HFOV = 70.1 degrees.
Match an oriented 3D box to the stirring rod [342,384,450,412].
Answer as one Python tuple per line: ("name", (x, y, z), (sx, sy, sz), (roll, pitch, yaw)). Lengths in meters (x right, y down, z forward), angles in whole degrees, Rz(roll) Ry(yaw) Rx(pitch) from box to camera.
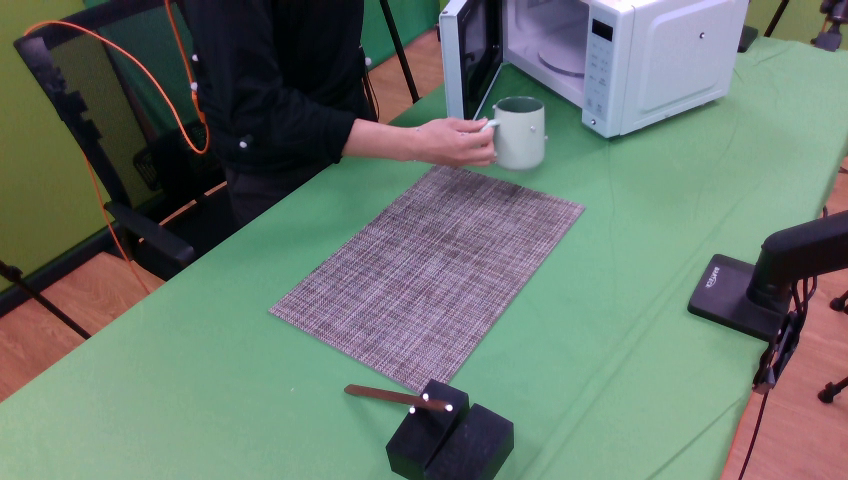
("stirring rod", (-0.038, 0.186, 0.714), (0.175, 0.006, 0.014), (-3, 22, 43))

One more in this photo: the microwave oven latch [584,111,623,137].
("microwave oven latch", (0.337, -0.222, 1.142), (0.030, 0.029, 0.078), (-21, 42, -14))

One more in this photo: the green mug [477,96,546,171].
("green mug", (0.144, -0.173, 1.009), (0.126, 0.105, 0.091), (-18, 37, -22))

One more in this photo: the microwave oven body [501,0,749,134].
("microwave oven body", (0.382, -0.444, 1.246), (0.327, 0.261, 0.437), (-22, 42, -16))

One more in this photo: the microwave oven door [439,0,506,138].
("microwave oven door", (0.108, -0.406, 1.231), (0.039, 0.245, 0.355), (7, 43, 18))
